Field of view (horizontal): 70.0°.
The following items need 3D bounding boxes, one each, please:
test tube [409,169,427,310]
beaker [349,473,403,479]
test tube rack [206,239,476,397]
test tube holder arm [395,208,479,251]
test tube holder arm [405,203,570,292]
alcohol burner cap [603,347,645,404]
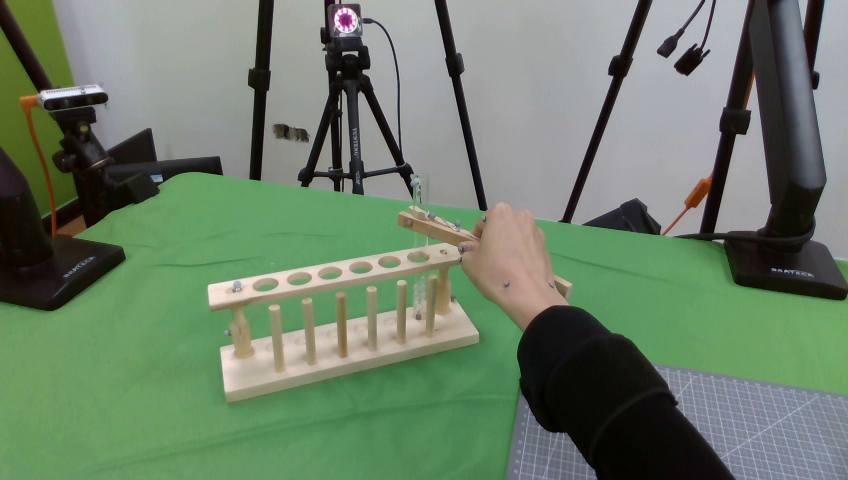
[{"bbox_3d":[-0.006,0.003,0.590,0.017,0.151,0.017,1,27,0],"label":"test tube"},{"bbox_3d":[-0.034,0.196,0.347,0.083,0.101,0.074,12,32,20],"label":"beaker"},{"bbox_3d":[-0.072,0.068,0.577,0.243,0.086,0.066,-10,32,-18],"label":"test tube rack"},{"bbox_3d":[0.012,-0.010,0.565,0.087,0.015,0.010,19,33,20],"label":"test tube holder arm"},{"bbox_3d":[0.052,0.004,0.549,0.177,0.015,0.013,26,37,29],"label":"test tube holder arm"},{"bbox_3d":[0.179,0.117,0.537,0.034,0.048,0.033,0,29,0],"label":"alcohol burner cap"}]
